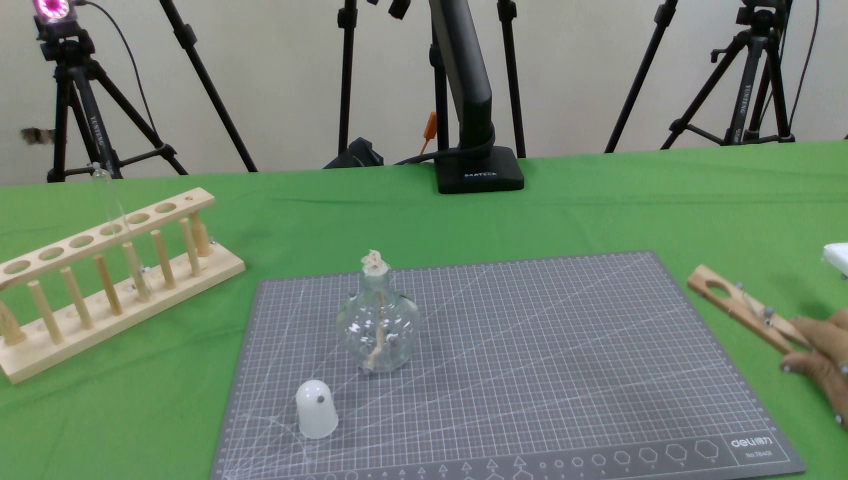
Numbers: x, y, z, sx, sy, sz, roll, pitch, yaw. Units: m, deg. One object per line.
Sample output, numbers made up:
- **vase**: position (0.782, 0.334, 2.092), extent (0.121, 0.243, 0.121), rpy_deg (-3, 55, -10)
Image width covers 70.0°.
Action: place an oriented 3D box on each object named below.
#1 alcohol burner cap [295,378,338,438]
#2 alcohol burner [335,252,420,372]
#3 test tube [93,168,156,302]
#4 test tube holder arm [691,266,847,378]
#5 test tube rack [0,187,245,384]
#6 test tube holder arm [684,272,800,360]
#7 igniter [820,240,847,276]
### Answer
- **alcohol burner cap**: position (-0.088, 0.133, 0.492), extent (0.034, 0.048, 0.033), rpy_deg (0, 34, 1)
- **alcohol burner**: position (-0.042, 0.059, 0.538), extent (0.078, 0.120, 0.077), rpy_deg (0, 35, 0)
- **test tube**: position (-0.290, -0.001, 0.590), extent (0.017, 0.151, 0.017), rpy_deg (-1, 34, 1)
- **test tube holder arm**: position (0.249, 0.069, 0.388), extent (0.013, 0.015, 0.176), rpy_deg (-50, 52, 0)
- **test tube rack**: position (-0.313, 0.036, 0.617), extent (0.066, 0.086, 0.242), rpy_deg (28, 44, 37)
- **test tube holder arm**: position (0.218, 0.051, 0.415), extent (0.010, 0.015, 0.087), rpy_deg (-49, 52, 0)
- **igniter**: position (0.421, 0.076, 0.485), extent (0.057, 0.025, 0.274), rpy_deg (-5, 30, -3)
